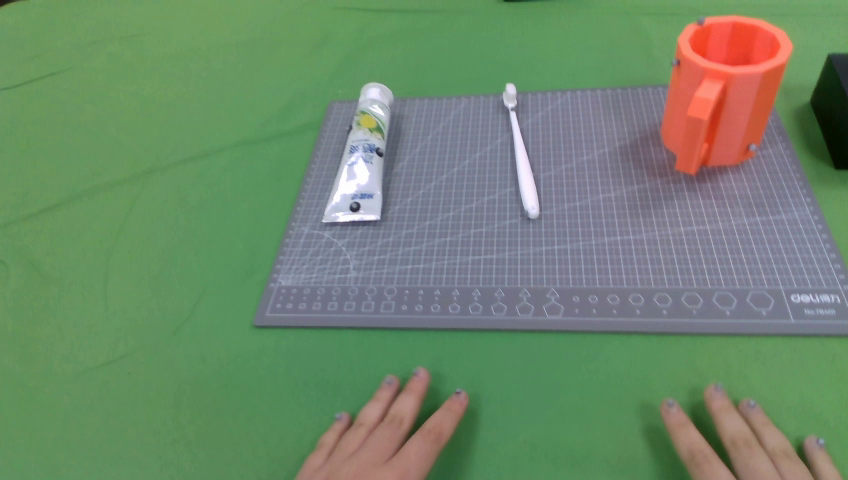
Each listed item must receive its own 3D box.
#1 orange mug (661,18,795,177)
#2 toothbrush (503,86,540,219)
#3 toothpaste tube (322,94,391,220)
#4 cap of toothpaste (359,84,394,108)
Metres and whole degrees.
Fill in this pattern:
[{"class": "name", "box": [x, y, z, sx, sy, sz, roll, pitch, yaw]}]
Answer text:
[{"class": "orange mug", "box": [0.248, -0.115, 0.515, 0.083, 0.102, 0.126, 23, 51, 27]}, {"class": "toothbrush", "box": [0.092, -0.089, 0.572, 0.014, 0.017, 0.180, 5, 49, -8]}, {"class": "toothpaste tube", "box": [-0.059, -0.084, 0.587, 0.055, 0.035, 0.163, -5, 51, 14]}, {"class": "cap of toothpaste", "box": [-0.050, -0.147, 0.632, 0.037, 0.038, 0.011, 0, 53, 9]}]
